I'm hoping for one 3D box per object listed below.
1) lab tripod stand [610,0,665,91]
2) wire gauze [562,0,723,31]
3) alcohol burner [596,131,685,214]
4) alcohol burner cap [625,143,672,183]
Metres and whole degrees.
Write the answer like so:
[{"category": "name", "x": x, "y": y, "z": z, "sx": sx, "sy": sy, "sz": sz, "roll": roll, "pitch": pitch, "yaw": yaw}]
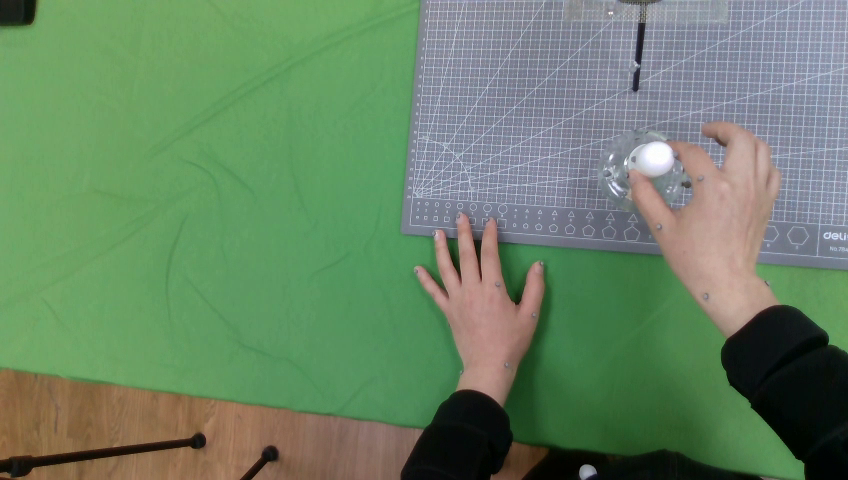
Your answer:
[{"category": "lab tripod stand", "x": 0.189, "y": -0.223, "z": 0.542, "sx": 0.148, "sy": 0.132, "sz": 0.148, "roll": 0, "pitch": 88, "yaw": 12}, {"category": "wire gauze", "x": 0.174, "y": -0.228, "z": 0.478, "sx": 0.125, "sy": 0.011, "sz": 0.121, "roll": 4, "pitch": 92, "yaw": 11}, {"category": "alcohol burner", "x": 0.195, "y": -0.063, "z": 0.543, "sx": 0.078, "sy": 0.119, "sz": 0.078, "roll": -1, "pitch": 86, "yaw": 11}, {"category": "alcohol burner cap", "x": 0.187, "y": -0.065, "z": 0.499, "sx": 0.034, "sy": 0.048, "sz": 0.034, "roll": 0, "pitch": 91, "yaw": 8}]
